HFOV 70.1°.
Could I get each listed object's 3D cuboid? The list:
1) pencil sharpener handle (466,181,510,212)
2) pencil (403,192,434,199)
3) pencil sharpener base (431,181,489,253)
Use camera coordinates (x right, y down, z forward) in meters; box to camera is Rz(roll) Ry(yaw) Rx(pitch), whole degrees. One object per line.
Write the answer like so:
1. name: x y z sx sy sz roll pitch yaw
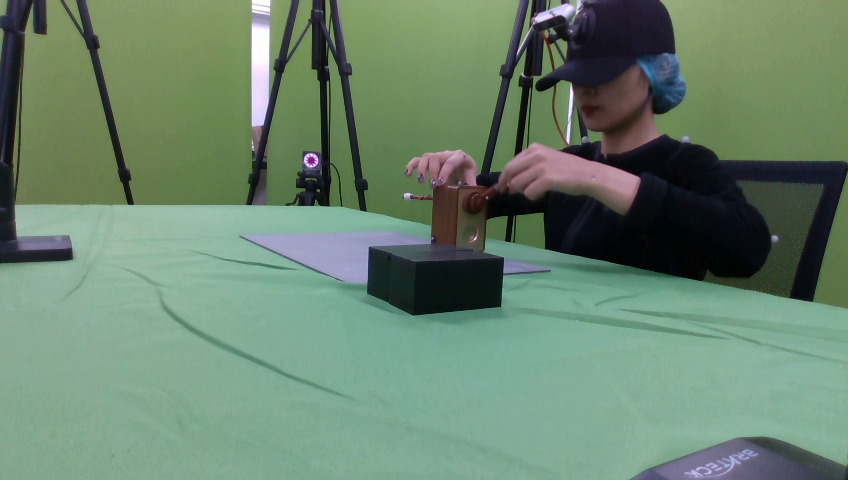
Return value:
1. pencil sharpener handle: 0.097 -0.067 0.903 0.068 0.036 0.030 -40 26 -21
2. pencil: 0.015 -0.071 1.011 0.012 0.012 0.193 -2 7 -32
3. pencil sharpener base: 0.057 -0.036 0.943 0.062 0.107 0.076 -2 9 -32
